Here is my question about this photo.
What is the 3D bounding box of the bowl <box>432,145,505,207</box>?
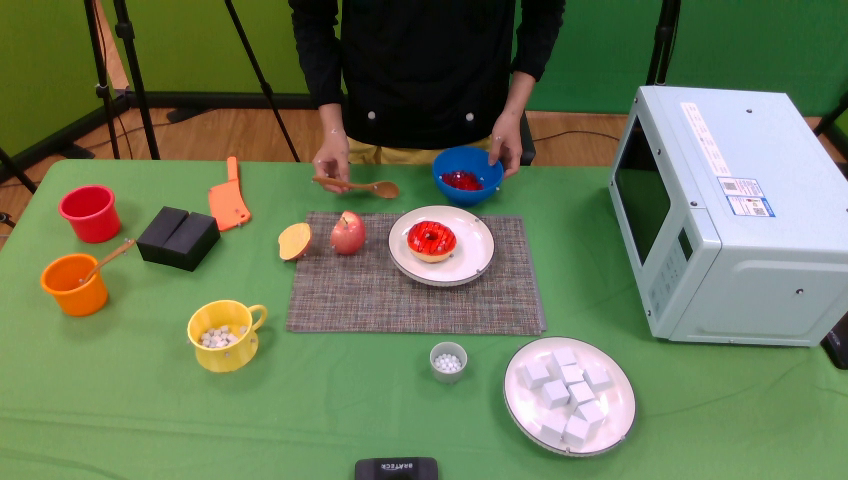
[{"bbox_3d":[0.091,-0.124,1.286,0.151,0.077,0.150,2,46,-2],"label":"bowl"}]

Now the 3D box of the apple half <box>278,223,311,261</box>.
[{"bbox_3d":[-0.241,0.007,1.157,0.081,0.033,0.081,-17,54,25],"label":"apple half"}]

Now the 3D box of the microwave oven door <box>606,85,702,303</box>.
[{"bbox_3d":[0.423,-0.094,1.140,0.039,0.245,0.353,2,46,-1],"label":"microwave oven door"}]

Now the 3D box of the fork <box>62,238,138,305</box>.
[{"bbox_3d":[-0.547,0.053,1.018,0.207,0.019,0.028,-36,41,23],"label":"fork"}]

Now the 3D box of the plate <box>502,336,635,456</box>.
[{"bbox_3d":[0.225,0.248,0.964,0.208,0.039,0.206,2,46,-2],"label":"plate"}]

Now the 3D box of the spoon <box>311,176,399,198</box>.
[{"bbox_3d":[-0.137,-0.113,1.234,0.194,0.042,0.021,4,41,-35],"label":"spoon"}]

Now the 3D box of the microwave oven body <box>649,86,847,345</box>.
[{"bbox_3d":[0.568,-0.053,1.118,0.326,0.261,0.439,2,45,-1],"label":"microwave oven body"}]

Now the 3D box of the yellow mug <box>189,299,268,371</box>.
[{"bbox_3d":[-0.316,0.148,1.002,0.131,0.064,0.099,-33,56,-31],"label":"yellow mug"}]

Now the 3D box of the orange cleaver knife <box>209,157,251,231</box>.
[{"bbox_3d":[-0.409,-0.099,1.266,0.077,0.012,0.210,-13,50,-10],"label":"orange cleaver knife"}]

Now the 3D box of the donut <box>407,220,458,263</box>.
[{"bbox_3d":[0.016,0.002,1.166,0.099,0.048,0.098,3,44,-2],"label":"donut"}]

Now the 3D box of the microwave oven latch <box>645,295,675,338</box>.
[{"bbox_3d":[0.412,0.134,1.061,0.030,0.029,0.078,3,45,0],"label":"microwave oven latch"}]

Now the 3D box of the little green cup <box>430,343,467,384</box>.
[{"bbox_3d":[0.039,0.203,0.993,0.061,0.039,0.061,2,46,-2],"label":"little green cup"}]

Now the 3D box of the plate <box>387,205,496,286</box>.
[{"bbox_3d":[0.033,0.014,1.171,0.209,0.038,0.208,2,46,-2],"label":"plate"}]

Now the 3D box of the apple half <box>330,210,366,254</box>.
[{"bbox_3d":[-0.140,-0.009,1.157,0.053,0.075,0.080,17,44,8],"label":"apple half"}]
